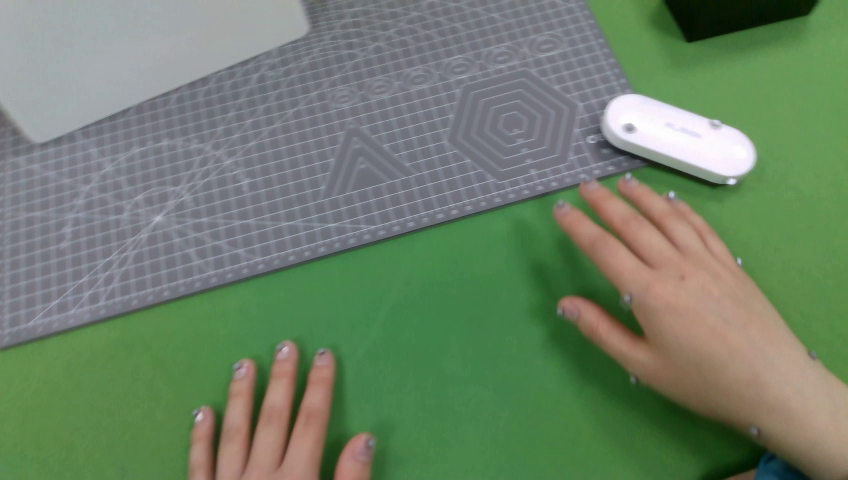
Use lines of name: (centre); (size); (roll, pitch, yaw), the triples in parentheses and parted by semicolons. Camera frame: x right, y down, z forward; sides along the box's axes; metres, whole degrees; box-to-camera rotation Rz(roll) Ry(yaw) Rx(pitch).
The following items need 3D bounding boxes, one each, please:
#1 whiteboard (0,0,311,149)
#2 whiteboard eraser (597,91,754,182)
whiteboard: (-0.239, -0.255, 0.384); (0.217, 0.309, 0.142); (-25, 47, -8)
whiteboard eraser: (0.168, -0.070, 0.406); (0.101, 0.019, 0.041); (22, 67, 10)
